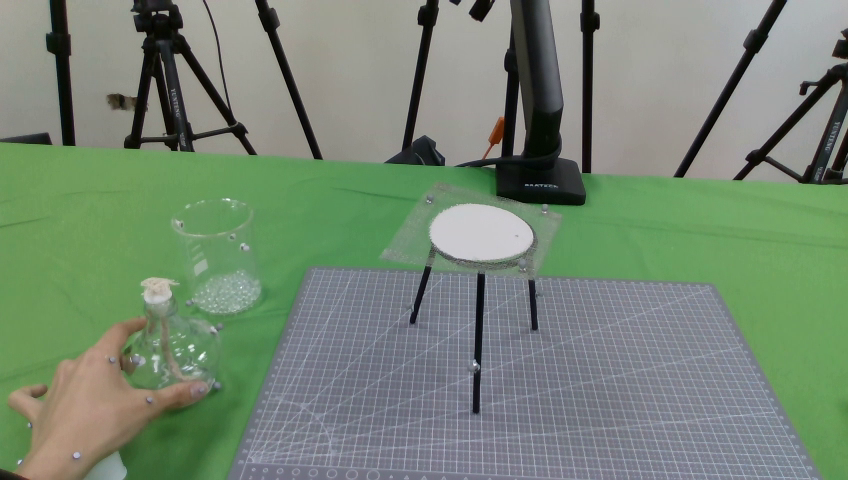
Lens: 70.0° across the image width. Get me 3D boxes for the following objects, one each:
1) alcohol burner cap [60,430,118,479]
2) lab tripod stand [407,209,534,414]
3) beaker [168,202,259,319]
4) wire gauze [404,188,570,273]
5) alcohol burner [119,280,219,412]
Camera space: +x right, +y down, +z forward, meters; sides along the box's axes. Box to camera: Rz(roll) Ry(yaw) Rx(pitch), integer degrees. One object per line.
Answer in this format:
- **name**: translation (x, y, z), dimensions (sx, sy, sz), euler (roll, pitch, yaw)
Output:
- **alcohol burner cap**: translation (-0.244, 0.160, 0.436), dimensions (0.034, 0.048, 0.033), euler (-5, 14, 2)
- **lab tripod stand**: translation (0.046, 0.053, 0.531), dimensions (0.148, 0.132, 0.147), euler (2, 34, -1)
- **beaker**: translation (-0.206, 0.021, 0.607), dimensions (0.074, 0.101, 0.083), euler (9, 33, 11)
- **wire gauze**: translation (0.048, -0.014, 0.480), dimensions (0.125, 0.011, 0.120), euler (8, 28, -4)
- **alcohol burner**: translation (-0.212, 0.083, 0.498), dimensions (0.078, 0.120, 0.077), euler (2, 32, -1)
